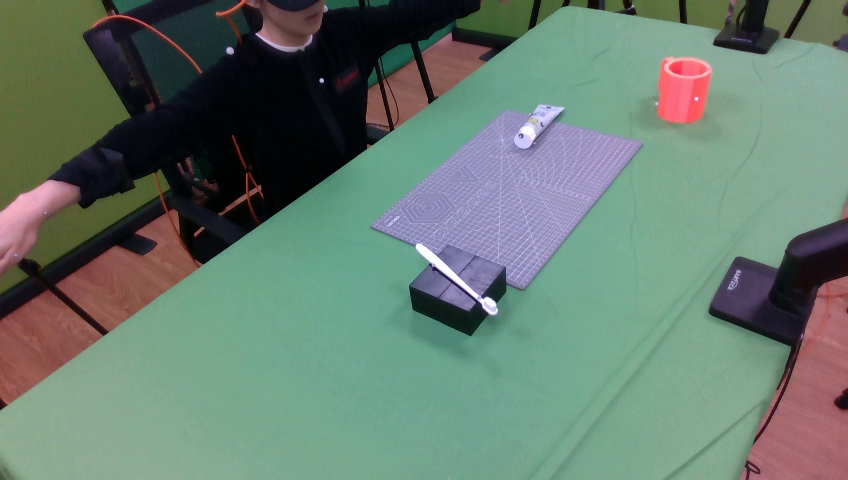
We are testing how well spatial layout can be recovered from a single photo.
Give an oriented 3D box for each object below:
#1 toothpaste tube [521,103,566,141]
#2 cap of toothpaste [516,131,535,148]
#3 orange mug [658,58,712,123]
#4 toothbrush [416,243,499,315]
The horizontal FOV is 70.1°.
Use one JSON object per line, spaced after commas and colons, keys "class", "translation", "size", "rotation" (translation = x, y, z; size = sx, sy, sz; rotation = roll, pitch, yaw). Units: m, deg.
{"class": "toothpaste tube", "translation": [0.234, -0.238, 1.209], "size": [0.055, 0.034, 0.165], "rotation": [19, 43, 21]}
{"class": "cap of toothpaste", "translation": [0.194, -0.193, 1.153], "size": [0.037, 0.037, 0.011], "rotation": [7, 44, 16]}
{"class": "orange mug", "translation": [0.504, -0.304, 1.193], "size": [0.083, 0.101, 0.125], "rotation": [-13, 45, -5]}
{"class": "toothbrush", "translation": [0.043, 0.049, 0.842], "size": [0.014, 0.017, 0.180], "rotation": [-31, 45, -21]}
